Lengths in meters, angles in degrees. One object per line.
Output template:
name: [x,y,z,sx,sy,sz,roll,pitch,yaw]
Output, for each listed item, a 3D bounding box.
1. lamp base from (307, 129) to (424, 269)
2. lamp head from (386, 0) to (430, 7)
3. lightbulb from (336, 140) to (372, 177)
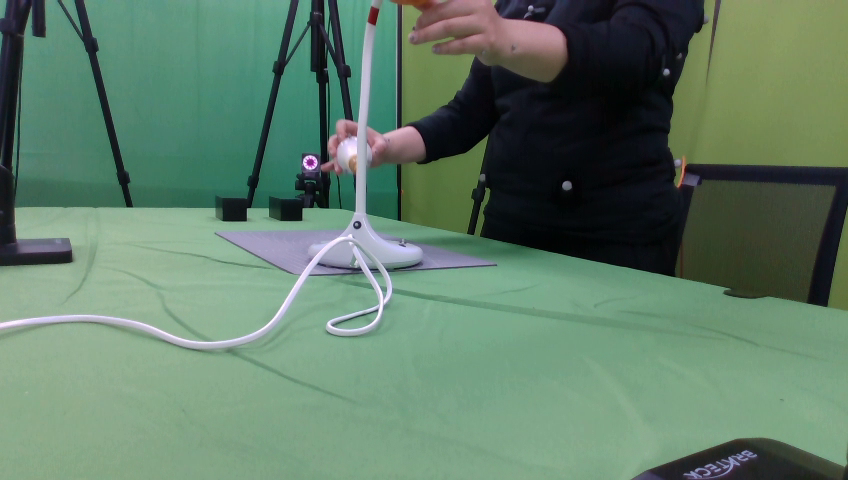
lamp base: [-0.077,-0.057,0.811,0.161,0.180,0.179,2,10,-4]
lamp head: [-0.020,-0.325,0.670,0.112,0.123,0.112,4,3,0]
lightbulb: [-0.111,-0.127,0.990,0.060,0.059,0.107,1,24,-17]
